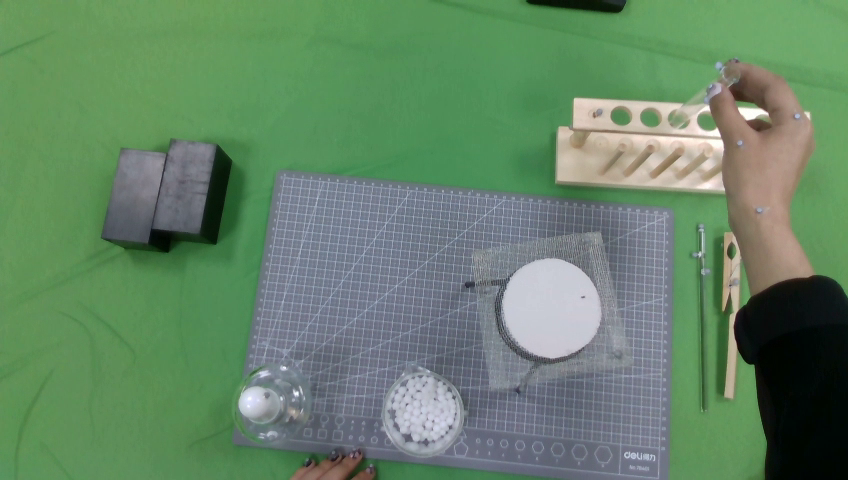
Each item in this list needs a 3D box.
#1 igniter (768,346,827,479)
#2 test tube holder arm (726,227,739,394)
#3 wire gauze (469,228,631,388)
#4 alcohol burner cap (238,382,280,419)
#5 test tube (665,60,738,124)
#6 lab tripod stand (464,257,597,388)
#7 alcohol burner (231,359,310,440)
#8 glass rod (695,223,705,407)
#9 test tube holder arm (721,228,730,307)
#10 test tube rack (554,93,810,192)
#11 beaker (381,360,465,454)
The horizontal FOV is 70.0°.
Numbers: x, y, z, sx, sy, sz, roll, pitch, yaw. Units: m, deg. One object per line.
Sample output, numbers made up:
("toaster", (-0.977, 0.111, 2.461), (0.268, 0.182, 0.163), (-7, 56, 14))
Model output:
("igniter", (0.368, 0.244, 0.615), (0.057, 0.025, 0.275), (19, 79, -6))
("test tube holder arm", (0.331, 0.074, 0.650), (0.013, 0.015, 0.177), (-3, 76, 35))
("wire gauze", (0.106, 0.056, 0.525), (0.121, 0.011, 0.124), (-9, 79, -1))
("alcohol burner cap", (-0.151, 0.143, 0.547), (0.034, 0.048, 0.033), (1, 69, -2))
("test tube", (0.255, -0.134, 0.570), (0.017, 0.150, 0.017), (0, 85, 4))
("lab tripod stand", (0.102, 0.071, 0.590), (0.148, 0.132, 0.147), (0, 79, 2))
("alcohol burner", (-0.151, 0.153, 0.582), (0.078, 0.119, 0.077), (0, 76, 0))
("glass rod", (0.298, 0.078, 0.656), (0.008, 0.008, 0.199), (5, 78, 0))
("test tube holder arm", (0.330, 0.030, 0.662), (0.010, 0.015, 0.087), (-2, 76, 35))
("test tube rack", (0.270, -0.103, 0.653), (0.242, 0.085, 0.066), (3, 78, 1))
("beaker", (-0.002, 0.159, 0.590), (0.074, 0.100, 0.083), (-16, 78, -3))
